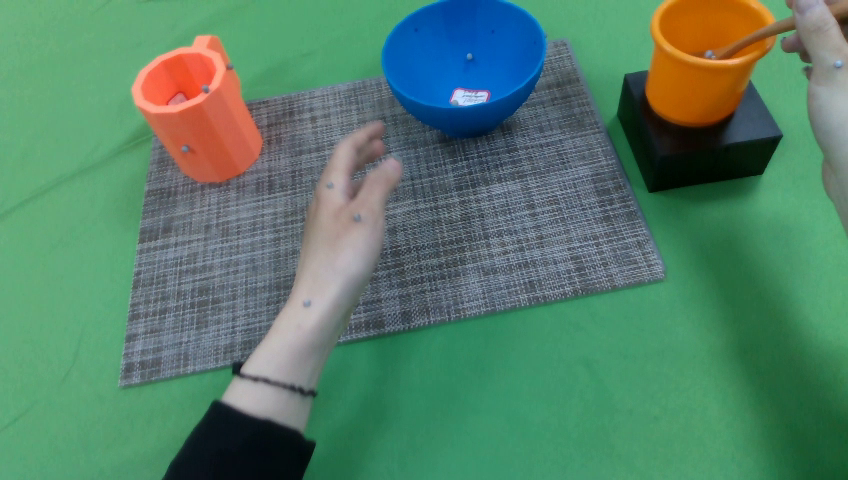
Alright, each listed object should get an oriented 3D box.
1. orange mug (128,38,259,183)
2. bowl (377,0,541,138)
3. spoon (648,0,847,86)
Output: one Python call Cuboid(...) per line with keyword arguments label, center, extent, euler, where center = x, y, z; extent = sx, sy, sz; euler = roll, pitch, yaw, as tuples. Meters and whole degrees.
Cuboid(label="orange mug", center=(-0.216, -0.132, 0.589), extent=(0.083, 0.102, 0.125), euler=(-1, 62, 8))
Cuboid(label="bowl", center=(0.035, -0.152, 0.579), extent=(0.151, 0.077, 0.150), euler=(-3, 57, 5))
Cuboid(label="spoon", center=(0.245, -0.149, 0.448), extent=(0.022, 0.193, 0.041), euler=(37, 74, -19))
